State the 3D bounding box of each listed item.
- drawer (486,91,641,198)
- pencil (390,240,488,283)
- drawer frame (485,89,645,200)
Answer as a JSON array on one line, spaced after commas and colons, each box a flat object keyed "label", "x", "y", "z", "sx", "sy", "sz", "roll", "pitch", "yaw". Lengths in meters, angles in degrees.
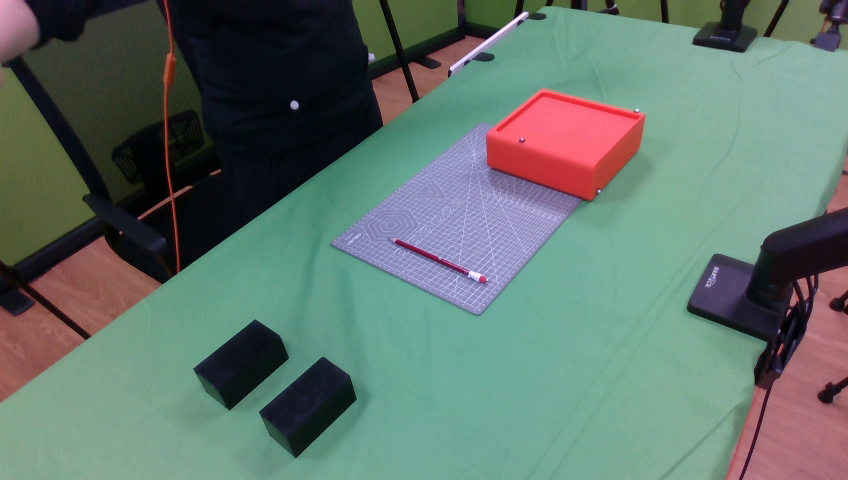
[{"label": "drawer", "x": 0.251, "y": -0.178, "z": 1.095, "sx": 0.210, "sy": 0.073, "sz": 0.195, "roll": 25, "pitch": 48, "yaw": 30}, {"label": "pencil", "x": 0.018, "y": 0.030, "z": 0.938, "sx": 0.192, "sy": 0.012, "sz": 0.012, "roll": 22, "pitch": 48, "yaw": 33}, {"label": "drawer frame", "x": 0.254, "y": -0.179, "z": 1.094, "sx": 0.212, "sy": 0.083, "sz": 0.202, "roll": 24, "pitch": 48, "yaw": 30}]
